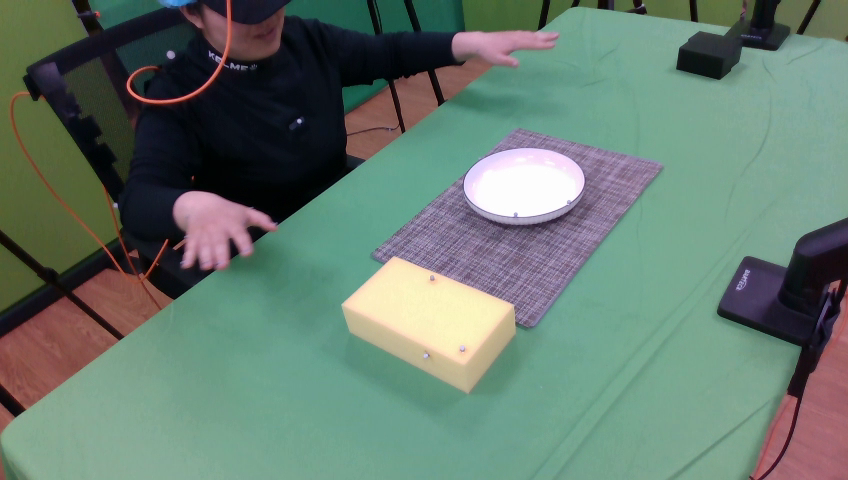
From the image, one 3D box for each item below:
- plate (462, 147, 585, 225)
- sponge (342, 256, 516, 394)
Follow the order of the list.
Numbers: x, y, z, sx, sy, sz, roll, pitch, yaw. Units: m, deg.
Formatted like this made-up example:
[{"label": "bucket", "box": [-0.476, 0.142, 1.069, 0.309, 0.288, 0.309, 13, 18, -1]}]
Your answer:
[{"label": "plate", "box": [0.170, -0.089, 1.041, 0.207, 0.039, 0.206, -5, 40, 5]}, {"label": "sponge", "box": [0.006, 0.109, 0.827, 0.205, 0.061, 0.118, 20, 48, 30]}]
